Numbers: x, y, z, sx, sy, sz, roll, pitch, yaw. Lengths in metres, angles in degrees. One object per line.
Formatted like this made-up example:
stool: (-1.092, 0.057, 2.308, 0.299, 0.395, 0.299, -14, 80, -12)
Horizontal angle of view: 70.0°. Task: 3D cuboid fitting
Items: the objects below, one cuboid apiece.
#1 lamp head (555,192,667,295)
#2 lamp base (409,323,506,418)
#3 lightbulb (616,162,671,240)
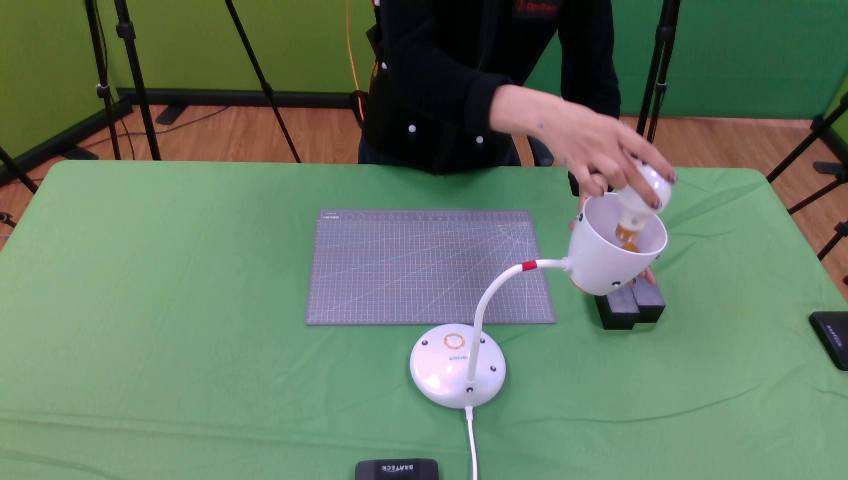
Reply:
lamp head: (0.235, 0.015, 0.794, 0.113, 0.123, 0.111, 13, 43, -13)
lamp base: (0.063, 0.161, 0.940, 0.161, 0.181, 0.178, -10, 51, -13)
lightbulb: (0.257, -0.043, 0.729, 0.059, 0.108, 0.059, 4, 40, -3)
